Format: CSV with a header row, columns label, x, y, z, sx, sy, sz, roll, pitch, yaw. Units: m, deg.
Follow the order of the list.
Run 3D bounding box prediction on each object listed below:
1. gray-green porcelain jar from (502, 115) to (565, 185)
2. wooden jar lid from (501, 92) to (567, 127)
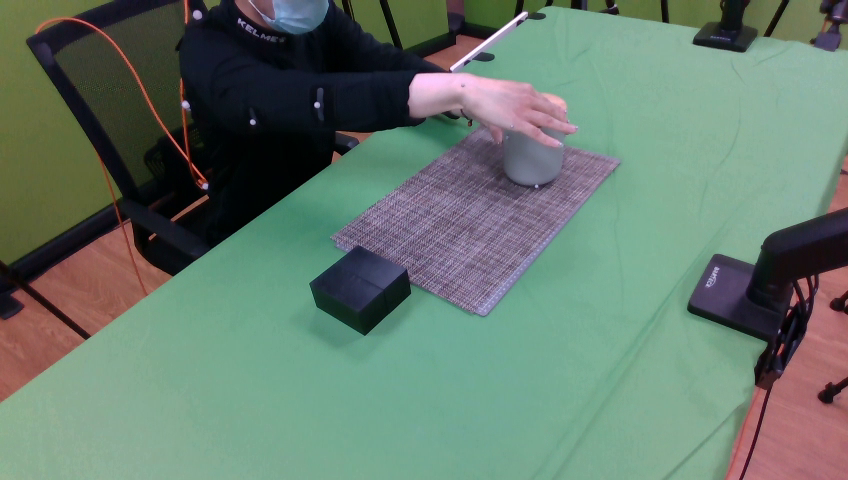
label,x,y,z,sx,sy,sz,roll,pitch,yaw
gray-green porcelain jar,0.189,-0.167,1.051,0.106,0.127,0.105,-4,41,4
wooden jar lid,0.183,-0.214,1.011,0.108,0.021,0.108,-6,40,6
